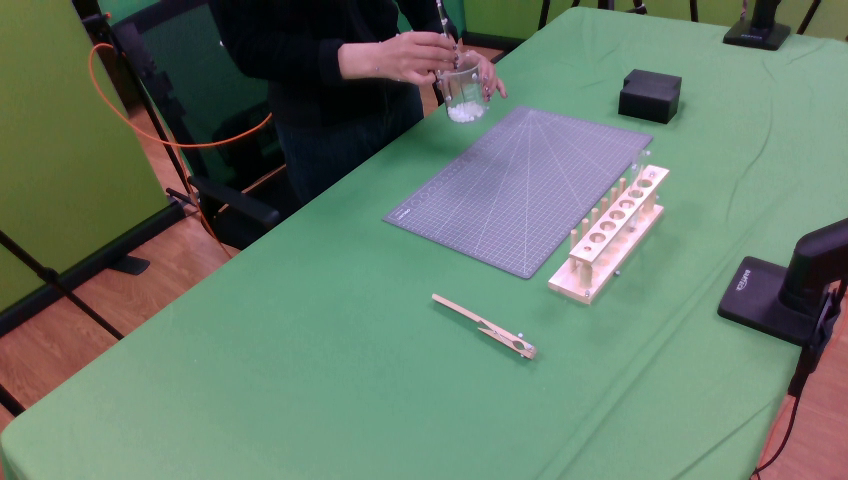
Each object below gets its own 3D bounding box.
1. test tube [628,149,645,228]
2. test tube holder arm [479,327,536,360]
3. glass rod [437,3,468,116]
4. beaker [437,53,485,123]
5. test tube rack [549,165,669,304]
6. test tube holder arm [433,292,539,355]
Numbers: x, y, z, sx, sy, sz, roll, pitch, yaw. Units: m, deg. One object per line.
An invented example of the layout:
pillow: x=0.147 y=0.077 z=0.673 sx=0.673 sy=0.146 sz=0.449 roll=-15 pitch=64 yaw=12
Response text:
test tube: x=0.309 y=-0.071 z=0.882 sx=0.017 sy=0.151 sz=0.017 roll=-7 pitch=47 yaw=8
test tube holder arm: x=0.110 y=0.134 z=0.805 sx=0.087 sy=0.015 sz=0.010 roll=29 pitch=83 yaw=36
glass rod: x=0.049 y=-0.295 z=1.007 sx=0.008 sy=0.201 sz=0.008 roll=-12 pitch=38 yaw=10
beaker: x=0.066 y=-0.263 z=1.059 sx=0.084 sy=0.101 sz=0.073 roll=-29 pitch=42 yaw=-19
test tube rack: x=0.279 y=-0.018 z=0.902 sx=0.066 sy=0.085 sz=0.243 roll=24 pitch=50 yaw=33
test tube holder arm: x=0.081 y=0.113 z=0.832 sx=0.177 sy=0.015 sz=0.013 roll=28 pitch=82 yaw=36
